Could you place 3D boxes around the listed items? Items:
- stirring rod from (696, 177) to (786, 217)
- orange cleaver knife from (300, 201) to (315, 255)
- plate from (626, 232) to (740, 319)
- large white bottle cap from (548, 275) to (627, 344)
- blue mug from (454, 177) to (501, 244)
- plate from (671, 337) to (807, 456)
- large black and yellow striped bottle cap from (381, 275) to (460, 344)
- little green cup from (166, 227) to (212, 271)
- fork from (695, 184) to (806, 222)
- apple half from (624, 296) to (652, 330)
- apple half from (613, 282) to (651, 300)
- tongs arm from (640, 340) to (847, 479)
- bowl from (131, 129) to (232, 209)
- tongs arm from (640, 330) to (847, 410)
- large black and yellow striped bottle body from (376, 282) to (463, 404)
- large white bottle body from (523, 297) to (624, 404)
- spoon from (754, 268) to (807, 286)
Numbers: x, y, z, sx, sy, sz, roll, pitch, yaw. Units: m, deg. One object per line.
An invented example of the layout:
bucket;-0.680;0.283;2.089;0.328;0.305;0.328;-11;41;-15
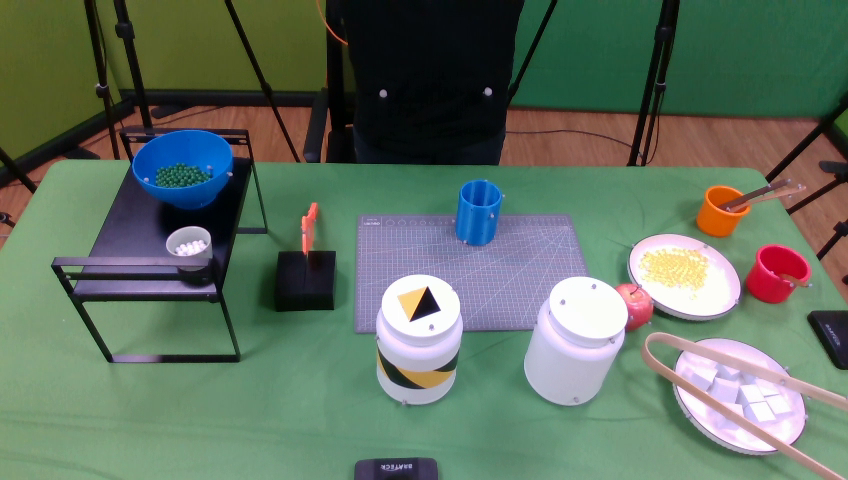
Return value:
stirring rod;0.648;-0.087;1.244;0.176;0.006;0.014;-25;50;29
orange cleaver knife;-0.222;-0.027;1.161;0.012;0.077;0.210;-2;15;-4
plate;0.488;0.071;1.156;0.209;0.038;0.208;3;46;-3
large white bottle cap;0.240;0.100;0.890;0.115;0.018;0.114;3;47;-3
blue mug;0.106;-0.067;1.208;0.082;0.106;0.116;6;46;1
plate;0.504;0.254;0.984;0.208;0.039;0.206;2;46;-2
large black and yellow striped bottle cap;-0.005;0.099;0.875;0.115;0.019;0.114;2;45;-2
little green cup;-0.344;0.014;0.895;0.061;0.039;0.061;3;46;-3
fork;0.658;-0.074;1.230;0.207;0.019;0.028;-24;33;36
apple half;0.368;0.135;1.060;0.081;0.081;0.032;-11;43;-15
apple half;0.356;0.109;1.086;0.081;0.075;0.053;-14;44;-12
tongs arm;0.500;0.277;0.919;0.386;0.028;0.028;34;59;22
bowl;-0.381;-0.103;0.978;0.151;0.077;0.150;2;46;-2
tongs arm;0.543;0.225;0.969;0.384;0.026;0.050;22;52;13
large black and yellow striped bottle body;-0.010;0.155;0.937;0.131;0.185;0.130;2;47;-2
large white bottle body;0.235;0.159;0.952;0.131;0.185;0.130;2;47;-2
spoon;0.647;0.065;1.100;0.041;0.021;0.194;15;3;10
